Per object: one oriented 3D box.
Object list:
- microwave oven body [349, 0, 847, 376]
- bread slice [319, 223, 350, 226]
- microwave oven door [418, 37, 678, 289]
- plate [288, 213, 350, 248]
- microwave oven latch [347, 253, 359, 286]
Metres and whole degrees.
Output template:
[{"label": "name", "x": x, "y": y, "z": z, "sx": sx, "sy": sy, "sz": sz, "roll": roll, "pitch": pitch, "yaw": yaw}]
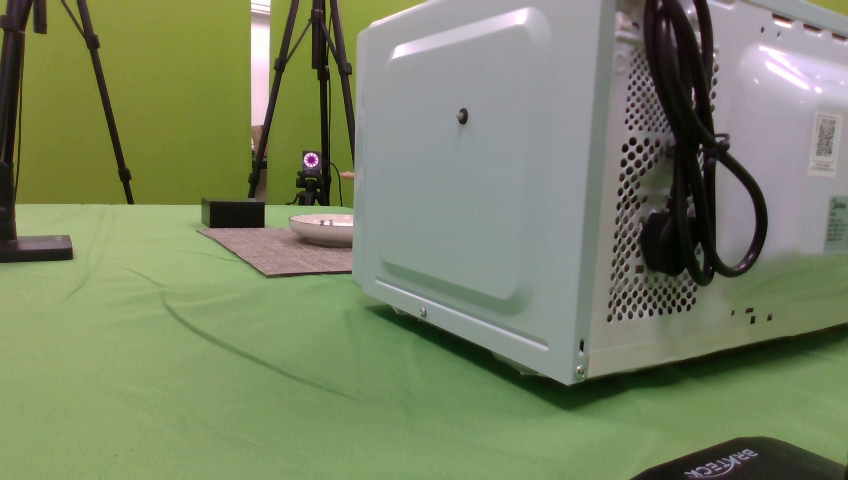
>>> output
[{"label": "microwave oven body", "x": 0.199, "y": -0.053, "z": 0.539, "sx": 0.444, "sy": 0.260, "sz": 0.324, "roll": -1, "pitch": 8, "yaw": -32}, {"label": "bread slice", "x": -0.122, "y": -0.015, "z": 1.004, "sx": 0.131, "sy": 0.019, "sz": 0.105, "roll": 4, "pitch": 7, "yaw": 12}, {"label": "microwave oven door", "x": 0.159, "y": -0.079, "z": 0.684, "sx": 0.358, "sy": 0.243, "sz": 0.039, "roll": -2, "pitch": 9, "yaw": -32}, {"label": "plate", "x": -0.122, "y": -0.017, "z": 1.008, "sx": 0.209, "sy": 0.038, "sz": 0.209, "roll": 3, "pitch": 8, "yaw": 0}, {"label": "microwave oven latch", "x": -0.034, "y": 0.028, "z": 0.581, "sx": 0.079, "sy": 0.029, "sz": 0.030, "roll": -1, "pitch": 7, "yaw": -31}]
